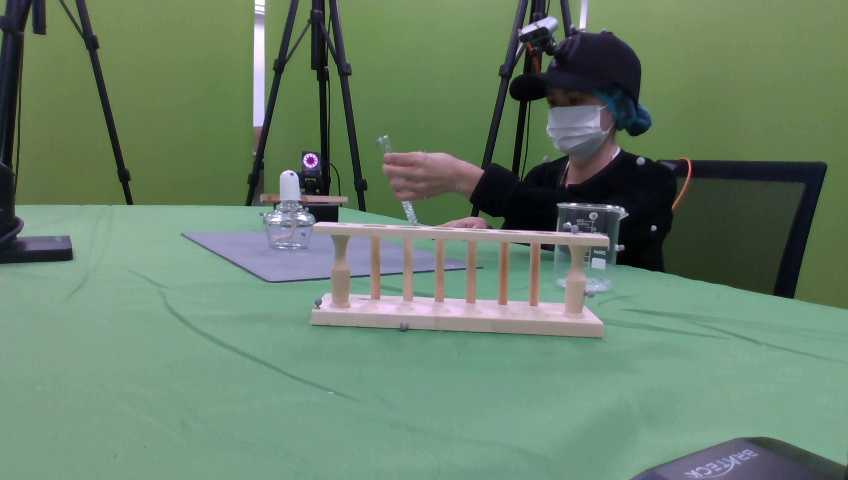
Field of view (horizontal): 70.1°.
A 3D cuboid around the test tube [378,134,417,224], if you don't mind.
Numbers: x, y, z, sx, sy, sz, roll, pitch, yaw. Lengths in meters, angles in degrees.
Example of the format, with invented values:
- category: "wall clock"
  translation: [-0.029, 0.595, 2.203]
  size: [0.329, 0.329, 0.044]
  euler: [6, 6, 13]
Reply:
- category: "test tube"
  translation: [-0.040, -0.094, 0.951]
  size: [0.017, 0.150, 0.017]
  euler: [-18, 17, 6]

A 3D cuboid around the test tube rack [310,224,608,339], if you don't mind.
- category: "test tube rack"
  translation: [0.028, 0.032, 0.528]
  size: [0.242, 0.085, 0.067]
  euler: [3, 7, 0]

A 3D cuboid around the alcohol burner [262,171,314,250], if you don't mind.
- category: "alcohol burner"
  translation: [-0.205, -0.045, 0.913]
  size: [0.078, 0.119, 0.078]
  euler: [1, 9, 0]

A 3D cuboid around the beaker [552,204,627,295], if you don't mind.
- category: "beaker"
  translation: [0.191, 0.010, 0.708]
  size: [0.083, 0.100, 0.074]
  euler: [8, 9, 33]

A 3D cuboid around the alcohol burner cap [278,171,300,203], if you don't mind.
- category: "alcohol burner cap"
  translation: [-0.203, -0.080, 0.909]
  size: [0.034, 0.048, 0.034]
  euler: [-1, 3, 0]

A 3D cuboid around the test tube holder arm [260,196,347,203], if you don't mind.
- category: "test tube holder arm"
  translation: [-0.239, -0.082, 1.213]
  size: [0.179, 0.015, 0.013]
  euler: [-1, 0, -32]

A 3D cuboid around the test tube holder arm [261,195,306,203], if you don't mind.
- category: "test tube holder arm"
  translation: [-0.275, -0.081, 1.184]
  size: [0.088, 0.015, 0.010]
  euler: [-1, 0, -32]
